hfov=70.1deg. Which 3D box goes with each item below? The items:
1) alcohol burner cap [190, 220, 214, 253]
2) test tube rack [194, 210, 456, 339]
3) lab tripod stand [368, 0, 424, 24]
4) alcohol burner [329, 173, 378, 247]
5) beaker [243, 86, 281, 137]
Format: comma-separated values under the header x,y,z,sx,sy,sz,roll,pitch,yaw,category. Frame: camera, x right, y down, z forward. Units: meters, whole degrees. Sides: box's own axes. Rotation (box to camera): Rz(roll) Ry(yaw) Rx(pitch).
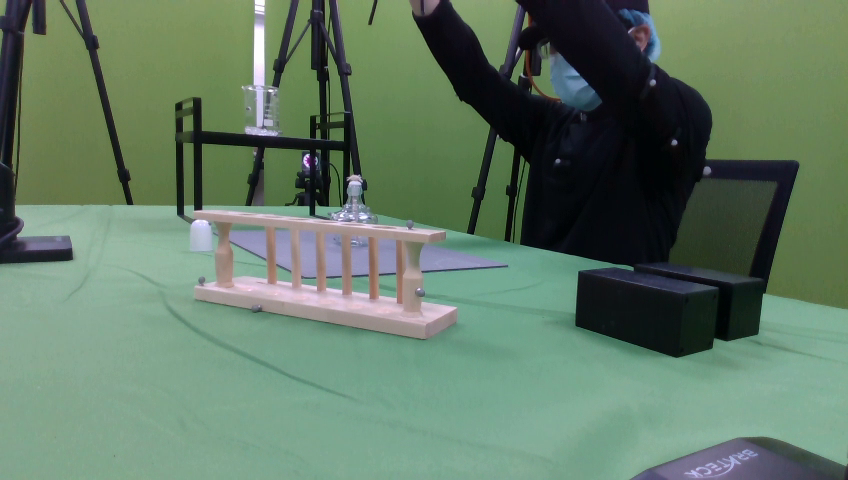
x,y,z,sx,sy,sz,roll,pitch,yaw,category
-0.321,-0.006,0.875,0.034,0.048,0.034,4,8,0,alcohol burner cap
-0.093,0.023,0.545,0.241,0.085,0.067,6,8,25,test tube rack
-0.056,-0.416,0.928,0.148,0.131,0.148,13,-4,1,lab tripod stand
-0.113,-0.049,0.972,0.078,0.119,0.078,1,9,0,alcohol burner
-0.338,-0.265,1.252,0.073,0.100,0.084,8,10,38,beaker
